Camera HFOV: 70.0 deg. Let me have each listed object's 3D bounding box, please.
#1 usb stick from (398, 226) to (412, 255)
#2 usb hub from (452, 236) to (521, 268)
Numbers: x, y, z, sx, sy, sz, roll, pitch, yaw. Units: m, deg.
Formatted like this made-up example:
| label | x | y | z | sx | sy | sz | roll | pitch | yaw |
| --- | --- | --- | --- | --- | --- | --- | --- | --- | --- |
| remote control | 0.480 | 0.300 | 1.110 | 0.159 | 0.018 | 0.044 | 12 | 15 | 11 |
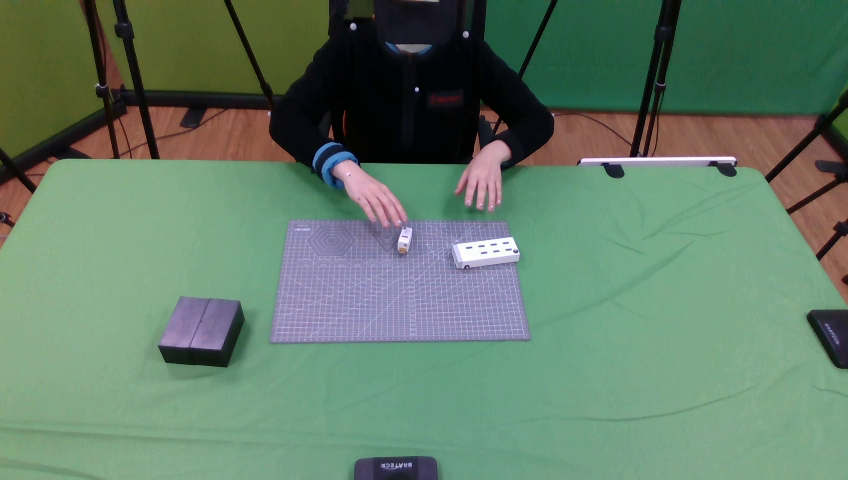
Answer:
| label | x | y | z | sx | sy | sz | roll | pitch | yaw |
| --- | --- | --- | --- | --- | --- | --- | --- | --- | --- |
| usb stick | -0.038 | 0.003 | 1.185 | 0.021 | 0.027 | 0.059 | 9 | 49 | 5 |
| usb hub | 0.121 | 0.024 | 1.176 | 0.125 | 0.025 | 0.049 | -7 | 48 | -10 |
